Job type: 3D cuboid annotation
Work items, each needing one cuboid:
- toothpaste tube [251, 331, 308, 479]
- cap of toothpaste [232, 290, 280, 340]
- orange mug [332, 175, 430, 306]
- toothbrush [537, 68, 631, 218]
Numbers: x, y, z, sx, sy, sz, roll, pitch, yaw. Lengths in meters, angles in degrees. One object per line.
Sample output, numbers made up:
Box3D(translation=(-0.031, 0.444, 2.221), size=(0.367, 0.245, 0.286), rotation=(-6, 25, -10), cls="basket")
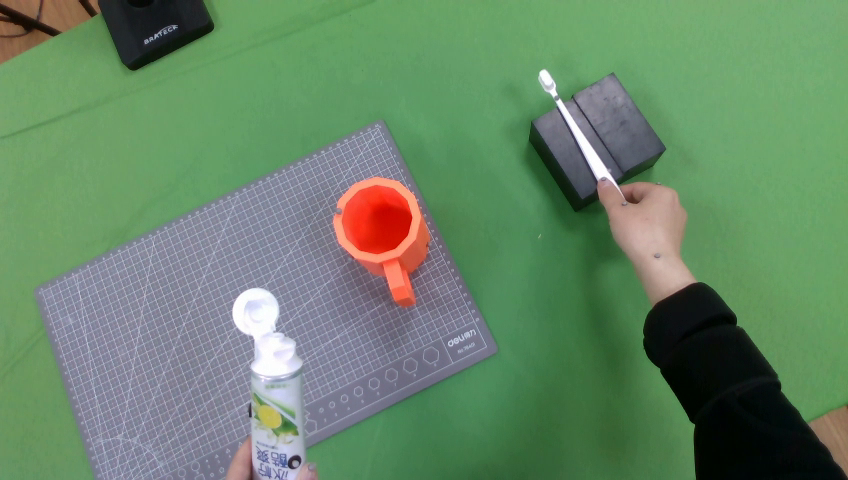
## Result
Box3D(translation=(-0.107, 0.143, 0.440), size=(0.055, 0.034, 0.165), rotation=(8, 106, 25), cls="toothpaste tube")
Box3D(translation=(-0.119, 0.054, 0.433), size=(0.037, 0.011, 0.037), rotation=(8, 78, -38), cls="cap of toothpaste")
Box3D(translation=(-0.036, 0.005, 0.624), size=(0.083, 0.101, 0.125), rotation=(-18, 72, 2), cls="orange mug")
Box3D(translation=(0.163, -0.102, 0.621), size=(0.014, 0.017, 0.181), rotation=(-28, 77, 5), cls="toothbrush")
